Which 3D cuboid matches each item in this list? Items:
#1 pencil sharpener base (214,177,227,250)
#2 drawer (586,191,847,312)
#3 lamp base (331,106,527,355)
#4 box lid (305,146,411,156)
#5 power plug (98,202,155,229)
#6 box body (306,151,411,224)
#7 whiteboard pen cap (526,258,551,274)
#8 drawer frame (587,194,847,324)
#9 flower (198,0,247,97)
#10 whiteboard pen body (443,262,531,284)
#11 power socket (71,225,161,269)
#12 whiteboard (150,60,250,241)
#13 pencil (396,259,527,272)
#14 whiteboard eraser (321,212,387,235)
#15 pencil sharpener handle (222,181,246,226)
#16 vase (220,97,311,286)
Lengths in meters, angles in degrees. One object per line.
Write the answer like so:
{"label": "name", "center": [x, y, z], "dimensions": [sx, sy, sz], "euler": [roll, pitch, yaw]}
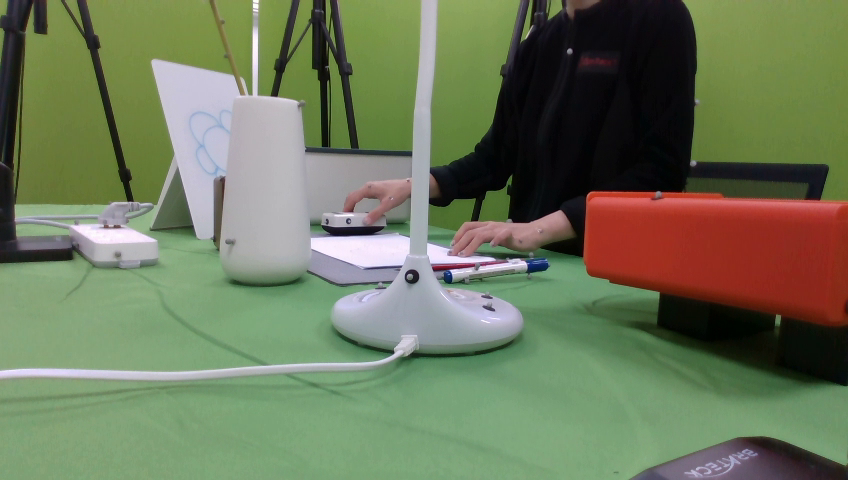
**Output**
{"label": "pencil sharpener base", "center": [-0.265, -0.036, 0.870], "dimensions": [0.061, 0.107, 0.076], "euler": [-2, 8, -29]}
{"label": "drawer", "center": [0.281, 0.001, 0.513], "dimensions": [0.195, 0.073, 0.210], "euler": [-1, 8, -29]}
{"label": "lamp base", "center": [0.006, -0.012, 0.478], "dimensions": [0.161, 0.180, 0.179], "euler": [2, 10, 2]}
{"label": "box lid", "center": [-0.229, -0.200, 1.360], "dimensions": [0.373, 0.015, 0.262], "euler": [-3, 9, -33]}
{"label": "power plug", "center": [-0.416, -0.027, 0.848], "dimensions": [0.073, 0.052, 0.035], "euler": [0, 8, -28]}
{"label": "box body", "center": [-0.230, -0.126, 1.371], "dimensions": [0.366, 0.160, 0.253], "euler": [-2, 8, -33]}
{"label": "whiteboard pen cap", "center": [0.141, 0.033, 0.759], "dimensions": [0.033, 0.018, 0.018], "euler": [-7, 11, -26]}
{"label": "drawer frame", "center": [0.285, 0.004, 0.508], "dimensions": [0.203, 0.082, 0.212], "euler": [-1, 6, -29]}
{"label": "flower", "center": [-0.187, -0.133, 0.648], "dimensions": [0.038, 0.362, 0.044], "euler": [-1, 22, 43]}
{"label": "whiteboard pen body", "center": [0.087, 0.038, 0.733], "dimensions": [0.141, 0.017, 0.017], "euler": [-5, 10, -27]}
{"label": "power socket", "center": [-0.408, 0.004, 0.793], "dimensions": [0.072, 0.032, 0.225], "euler": [-2, 8, -38]}
{"label": "whiteboard", "center": [-0.408, -0.139, 1.093], "dimensions": [0.143, 0.305, 0.218], "euler": [-15, -1, 26]}
{"label": "pencil", "center": [0.053, 0.035, 0.783], "dimensions": [0.195, 0.012, 0.012], "euler": [-2, 9, -26]}
{"label": "whiteboard eraser", "center": [-0.128, -0.031, 1.109], "dimensions": [0.113, 0.042, 0.055], "euler": [-4, 3, -37]}
{"label": "pencil sharpener handle", "center": [-0.289, -0.055, 0.912], "dimensions": [0.036, 0.067, 0.030], "euler": [-3, 9, -29]}
{"label": "vase", "center": [-0.172, -0.052, 0.662], "dimensions": [0.098, 0.200, 0.098], "euler": [3, 9, 0]}
